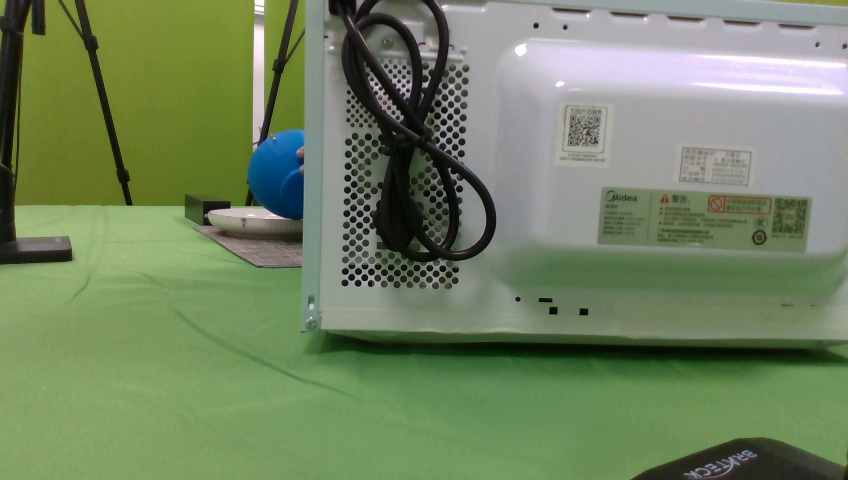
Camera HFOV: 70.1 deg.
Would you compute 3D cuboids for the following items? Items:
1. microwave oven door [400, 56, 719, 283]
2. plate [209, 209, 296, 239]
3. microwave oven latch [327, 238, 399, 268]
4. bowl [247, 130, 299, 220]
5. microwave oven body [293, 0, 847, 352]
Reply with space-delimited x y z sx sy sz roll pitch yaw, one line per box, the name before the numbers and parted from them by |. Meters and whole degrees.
microwave oven door | 0.155 -0.077 0.698 0.356 0.243 0.039 2 8 -5
plate | -0.271 -0.029 1.074 0.208 0.039 0.207 3 7 0
microwave oven latch | -0.069 0.015 0.694 0.079 0.029 0.030 3 7 -3
bowl | -0.196 -0.089 0.950 0.152 0.151 0.076 -1 28 -24
microwave oven body | 0.122 -0.055 0.550 0.442 0.260 0.325 3 7 -5
